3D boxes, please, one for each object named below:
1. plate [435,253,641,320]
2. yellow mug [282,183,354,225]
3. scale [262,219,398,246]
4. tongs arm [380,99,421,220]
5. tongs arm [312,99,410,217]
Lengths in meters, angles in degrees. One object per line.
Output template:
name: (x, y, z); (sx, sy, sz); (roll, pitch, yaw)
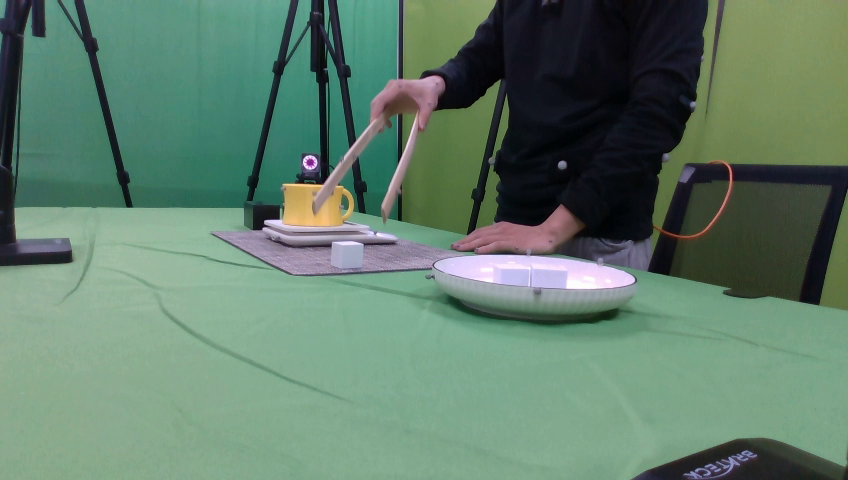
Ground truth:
plate: (0.114, 0.047, 0.626); (0.208, 0.039, 0.207); (2, 7, 0)
yellow mug: (-0.172, -0.061, 1.009); (0.131, 0.064, 0.099); (-2, 8, -42)
scale: (-0.160, -0.016, 1.028); (0.202, 0.031, 0.148); (-2, 8, -32)
tongs arm: (-0.034, -0.138, 0.933); (0.028, 0.028, 0.387); (-3, 32, 9)
tongs arm: (-0.086, -0.142, 0.941); (0.050, 0.026, 0.384); (2, 33, 11)
